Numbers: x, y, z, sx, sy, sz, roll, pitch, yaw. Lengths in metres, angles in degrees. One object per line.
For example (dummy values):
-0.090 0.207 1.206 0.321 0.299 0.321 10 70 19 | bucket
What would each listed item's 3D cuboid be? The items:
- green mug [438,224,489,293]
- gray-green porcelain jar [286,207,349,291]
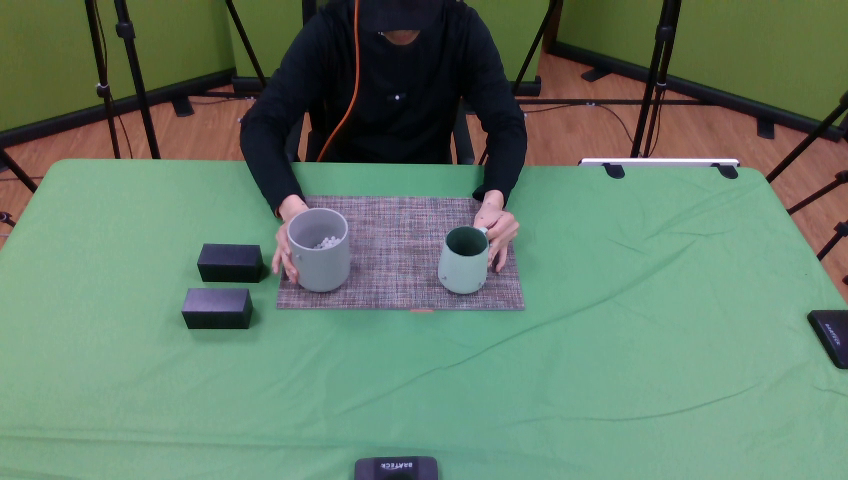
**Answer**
0.083 0.026 1.115 0.092 0.105 0.125 27 51 20 | green mug
-0.187 0.021 1.084 0.106 0.127 0.105 2 47 -2 | gray-green porcelain jar
